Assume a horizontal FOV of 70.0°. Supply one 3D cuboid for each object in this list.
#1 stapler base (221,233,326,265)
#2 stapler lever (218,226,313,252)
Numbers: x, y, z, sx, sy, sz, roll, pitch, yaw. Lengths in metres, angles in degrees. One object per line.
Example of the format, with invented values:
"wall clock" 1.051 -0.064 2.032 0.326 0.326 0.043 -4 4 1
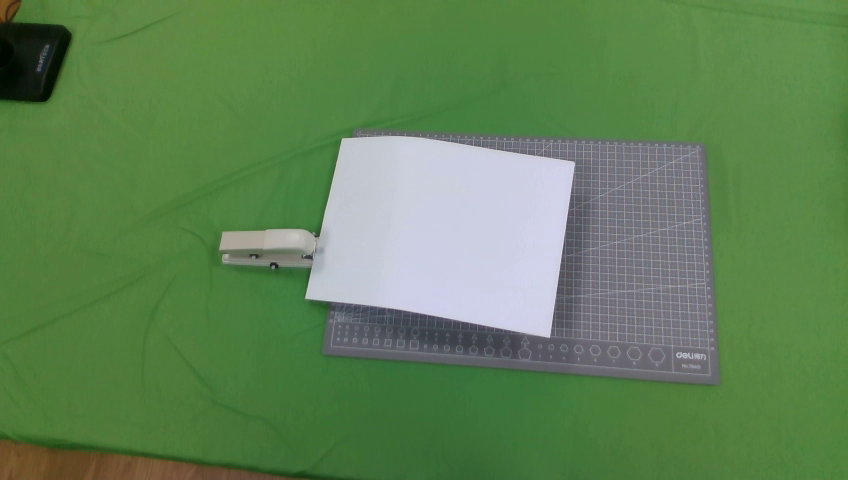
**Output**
"stapler base" -0.187 0.006 0.744 0.130 0.024 0.041 2 72 5
"stapler lever" -0.191 -0.001 0.721 0.118 0.040 0.026 2 72 4
